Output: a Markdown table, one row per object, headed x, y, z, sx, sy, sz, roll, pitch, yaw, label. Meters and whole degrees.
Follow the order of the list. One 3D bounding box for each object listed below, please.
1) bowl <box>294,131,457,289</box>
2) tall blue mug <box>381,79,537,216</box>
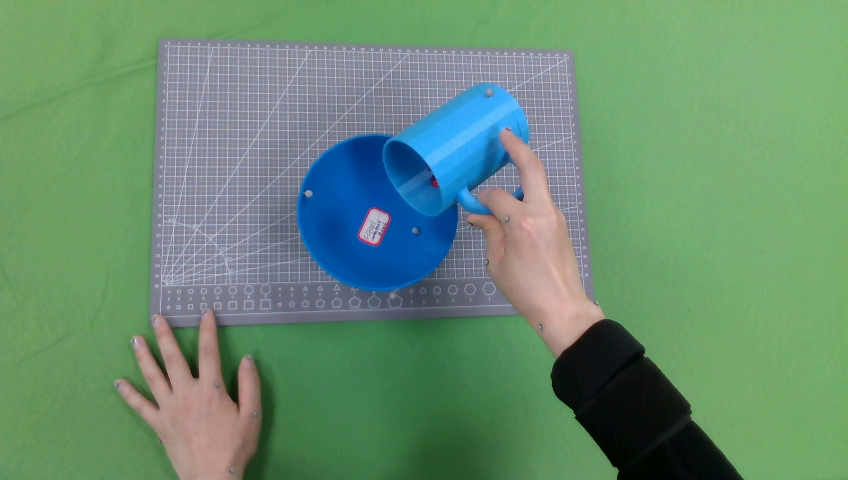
| x | y | z | sx | sy | sz | roll | pitch | yaw | label |
| --- | --- | --- | --- | --- | --- | --- | --- | --- | --- |
| -0.048 | -0.022 | 0.593 | 0.152 | 0.077 | 0.151 | 2 | 80 | -8 | bowl |
| 0.038 | -0.076 | 0.519 | 0.108 | 0.106 | 0.078 | -39 | 132 | -25 | tall blue mug |
